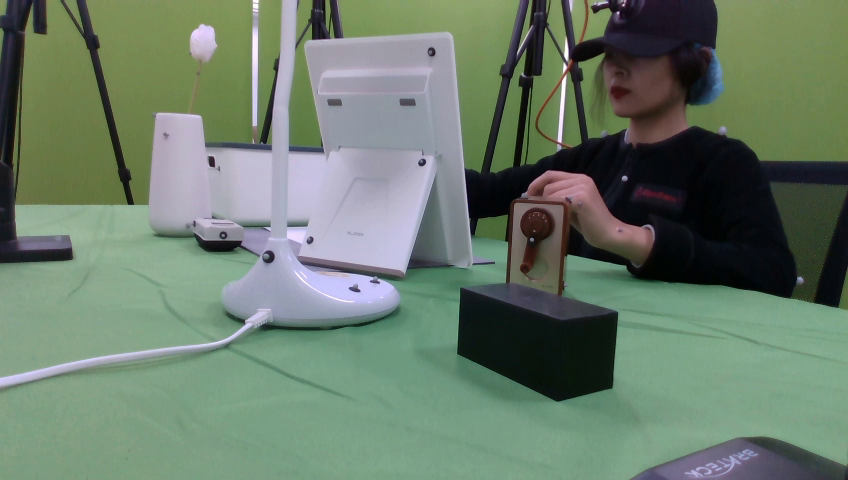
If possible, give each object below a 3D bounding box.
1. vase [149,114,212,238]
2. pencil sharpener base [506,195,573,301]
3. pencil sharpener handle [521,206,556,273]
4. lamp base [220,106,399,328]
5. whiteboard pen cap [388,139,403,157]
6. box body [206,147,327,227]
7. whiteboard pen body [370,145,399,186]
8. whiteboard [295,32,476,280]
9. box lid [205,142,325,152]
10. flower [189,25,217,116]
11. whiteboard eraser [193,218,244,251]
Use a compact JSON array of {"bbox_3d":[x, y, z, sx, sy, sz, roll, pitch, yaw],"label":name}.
[{"bbox_3d":[-0.405,-0.106,1.005,0.098,0.200,0.098,2,6,0],"label":"vase"},{"bbox_3d":[0.127,0.007,0.663,0.061,0.107,0.077,5,8,15],"label":"pencil sharpener base"},{"bbox_3d":[0.111,0.000,0.613,0.036,0.067,0.031,13,10,14],"label":"pencil sharpener handle"},{"bbox_3d":[-0.102,-0.023,0.531,0.160,0.180,0.179,4,10,10],"label":"lamp base"},{"bbox_3d":[-0.044,-0.140,0.931,0.018,0.018,0.033,-1,-20,-22],"label":"whiteboard pen cap"},{"bbox_3d":[-0.276,-0.122,1.320,0.366,0.160,0.253,-2,9,-30],"label":"box body"},{"bbox_3d":[-0.064,-0.121,0.984,0.017,0.017,0.140,-1,-19,-22],"label":"whiteboard pen body"},{"bbox_3d":[-0.076,-0.084,0.747,0.216,0.305,0.144,7,28,29],"label":"whiteboard"},{"bbox_3d":[-0.270,-0.196,1.310,0.373,0.015,0.262,-2,9,-30],"label":"box lid"},{"bbox_3d":[-0.394,-0.189,1.012,0.044,0.361,0.038,-1,-13,28],"label":"flower"},{"bbox_3d":[-0.307,-0.009,0.900,0.056,0.042,0.112,-4,10,-28],"label":"whiteboard eraser"}]
